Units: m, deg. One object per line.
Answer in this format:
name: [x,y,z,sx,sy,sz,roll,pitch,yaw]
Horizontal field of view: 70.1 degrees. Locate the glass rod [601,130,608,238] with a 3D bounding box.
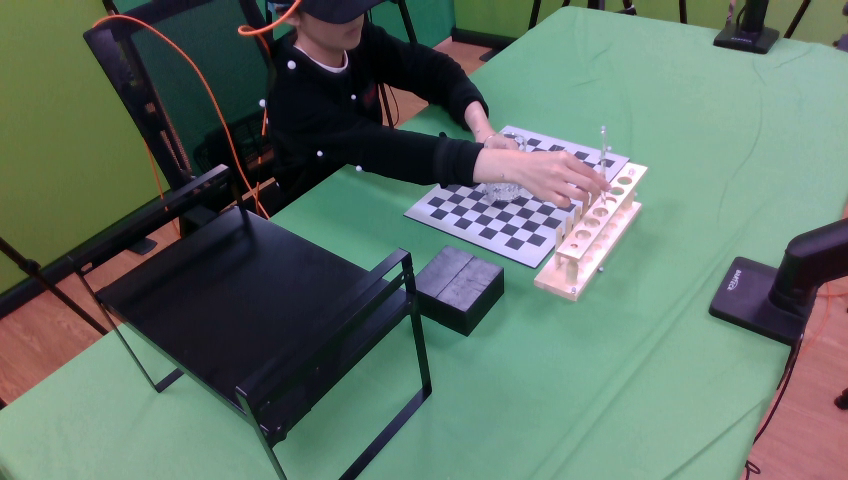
glass rod: [0.261,-0.075,0.873,0.008,0.201,0.008,-9,43,9]

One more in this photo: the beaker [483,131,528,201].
beaker: [0.143,-0.126,1.035,0.073,0.101,0.084,24,49,32]

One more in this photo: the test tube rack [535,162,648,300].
test tube rack: [0.257,-0.024,0.916,0.066,0.085,0.243,22,49,30]
